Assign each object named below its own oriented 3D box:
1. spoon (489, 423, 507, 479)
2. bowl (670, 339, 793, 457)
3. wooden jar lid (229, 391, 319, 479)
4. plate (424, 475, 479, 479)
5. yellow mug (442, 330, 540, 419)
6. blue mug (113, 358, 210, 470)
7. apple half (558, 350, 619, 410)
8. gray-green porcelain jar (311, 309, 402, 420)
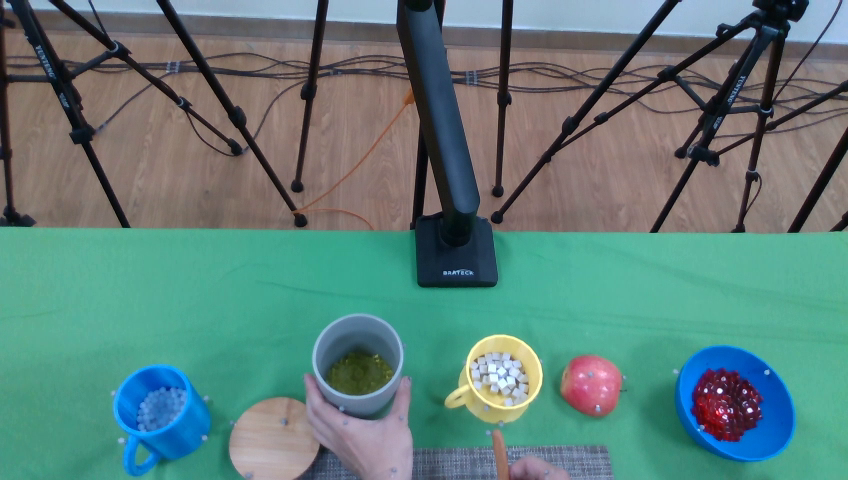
[{"bbox_3d":[0.093,0.294,0.666,0.041,0.194,0.021,-6,10,24],"label":"spoon"},{"bbox_3d":[0.387,0.215,0.796,0.151,0.077,0.150,3,59,-4],"label":"bowl"},{"bbox_3d":[-0.183,0.240,0.746,0.108,0.021,0.107,3,55,-4],"label":"wooden jar lid"},{"bbox_3d":[0.032,0.374,0.677,0.208,0.039,0.205,3,59,-5],"label":"plate"},{"bbox_3d":[0.082,0.181,0.789,0.131,0.064,0.099,-21,63,-17],"label":"yellow mug"},{"bbox_3d":[-0.309,0.209,0.703,0.082,0.106,0.116,18,58,5],"label":"blue mug"},{"bbox_3d":[0.223,0.182,0.813,0.074,0.054,0.080,19,59,8],"label":"apple half"},{"bbox_3d":[-0.083,0.159,0.748,0.106,0.127,0.105,3,58,-5],"label":"gray-green porcelain jar"}]
